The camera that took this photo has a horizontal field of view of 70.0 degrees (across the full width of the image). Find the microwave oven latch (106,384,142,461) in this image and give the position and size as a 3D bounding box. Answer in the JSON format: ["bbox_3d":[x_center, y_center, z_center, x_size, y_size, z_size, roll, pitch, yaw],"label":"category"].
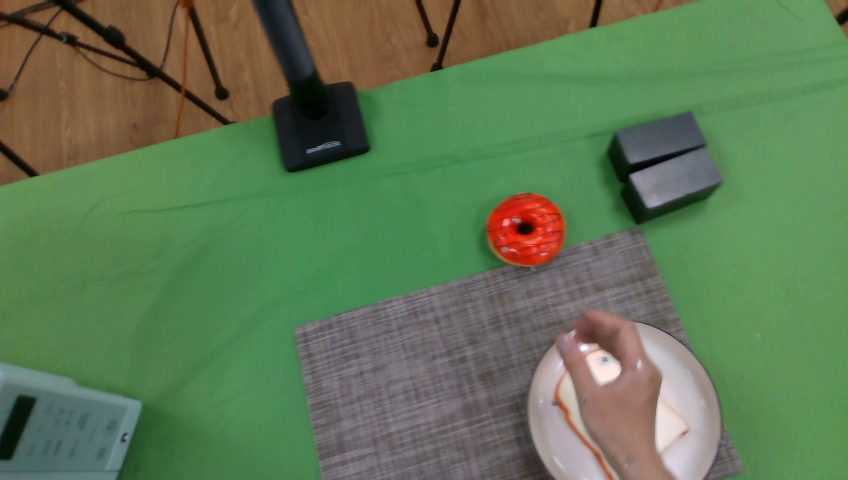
[{"bbox_3d":[-0.350,0.207,0.689,0.030,0.030,0.079,13,73,8],"label":"microwave oven latch"}]

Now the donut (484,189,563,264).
[{"bbox_3d":[0.123,-0.016,0.750,0.099,0.048,0.098,-3,68,8],"label":"donut"}]

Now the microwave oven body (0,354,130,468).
[{"bbox_3d":[-0.540,0.310,0.563,0.325,0.262,0.439,11,72,7],"label":"microwave oven body"}]

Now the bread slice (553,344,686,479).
[{"bbox_3d":[0.209,0.183,0.675,0.105,0.019,0.130,-36,73,-9],"label":"bread slice"}]

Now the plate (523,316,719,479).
[{"bbox_3d":[0.213,0.189,0.672,0.207,0.039,0.206,-1,70,3],"label":"plate"}]

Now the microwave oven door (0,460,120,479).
[{"bbox_3d":[-0.408,0.374,0.526,0.039,0.245,0.354,10,71,8],"label":"microwave oven door"}]
